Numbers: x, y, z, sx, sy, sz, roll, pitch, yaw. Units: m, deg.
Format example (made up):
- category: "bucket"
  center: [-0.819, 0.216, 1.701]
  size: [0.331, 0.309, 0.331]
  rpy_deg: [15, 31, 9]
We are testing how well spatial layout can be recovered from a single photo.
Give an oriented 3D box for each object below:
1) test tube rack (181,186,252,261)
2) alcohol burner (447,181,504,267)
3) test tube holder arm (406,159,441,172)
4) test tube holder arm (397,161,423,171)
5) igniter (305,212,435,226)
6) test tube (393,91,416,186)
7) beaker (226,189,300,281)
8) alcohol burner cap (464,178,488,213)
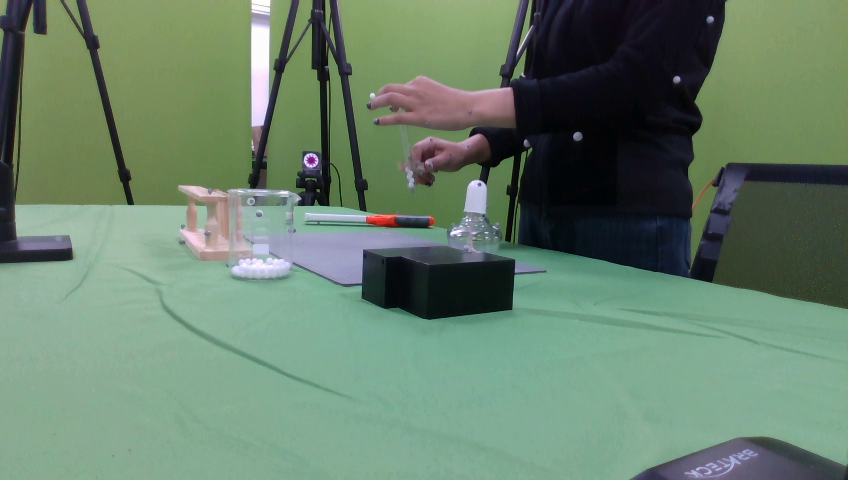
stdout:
- category: "test tube rack"
  center: [-0.312, -0.031, 0.893]
  size: [0.067, 0.085, 0.241]
  rpy_deg: [-1, 8, -27]
- category: "alcohol burner"
  center: [0.070, -0.024, 0.828]
  size: [0.078, 0.119, 0.078]
  rpy_deg: [0, 6, 0]
- category: "test tube holder arm"
  center: [0.002, -0.123, 1.011]
  size: [0.013, 0.015, 0.179]
  rpy_deg: [-8, 2, 18]
- category: "test tube holder arm"
  center: [-0.019, -0.118, 0.970]
  size: [0.010, 0.015, 0.088]
  rpy_deg: [-8, 2, 26]
- category: "igniter"
  center: [-0.114, -0.046, 1.296]
  size: [0.277, 0.025, 0.057]
  rpy_deg: [1, -2, -11]
- category: "test tube"
  center: [-0.030, -0.158, 0.947]
  size: [0.017, 0.150, 0.017]
  rpy_deg: [-9, -1, 0]
- category: "beaker"
  center: [-0.184, -0.007, 0.694]
  size: [0.084, 0.100, 0.073]
  rpy_deg: [-1, 8, -29]
- category: "alcohol burner cap"
  center: [0.074, -0.060, 0.824]
  size: [0.034, 0.048, 0.034]
  rpy_deg: [7, 4, 0]
